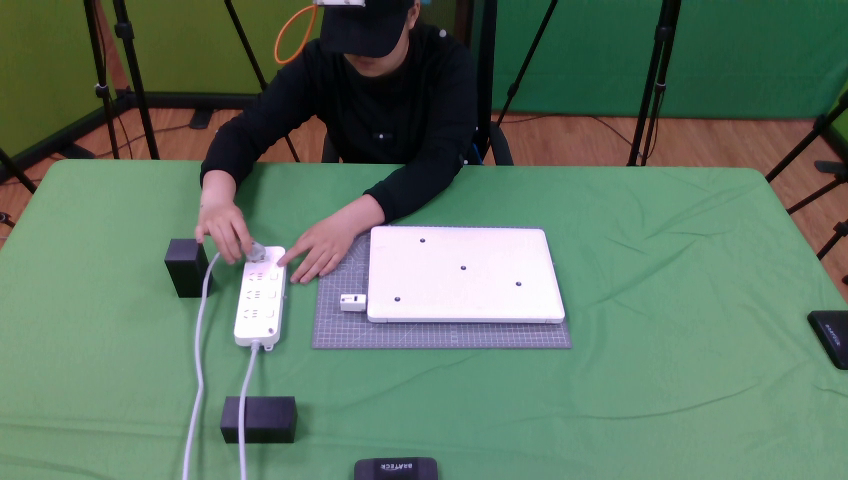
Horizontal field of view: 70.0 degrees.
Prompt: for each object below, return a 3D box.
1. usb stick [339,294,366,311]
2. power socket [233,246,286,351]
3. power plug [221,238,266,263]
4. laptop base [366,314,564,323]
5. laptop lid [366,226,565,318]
[{"bbox_3d":[-0.119,0.111,1.068,0.059,0.027,0.021,4,46,-5],"label":"usb stick"},{"bbox_3d":[-0.289,0.095,1.077,0.072,0.033,0.225,-2,46,-5],"label":"power socket"},{"bbox_3d":[-0.325,0.019,1.105,0.072,0.053,0.035,5,42,6],"label":"power plug"},{"bbox_3d":[0.071,0.065,1.144,0.355,0.023,0.234,1,42,-4],"label":"laptop base"},{"bbox_3d":[0.072,0.055,1.137,0.357,0.013,0.240,2,44,-3],"label":"laptop lid"}]
